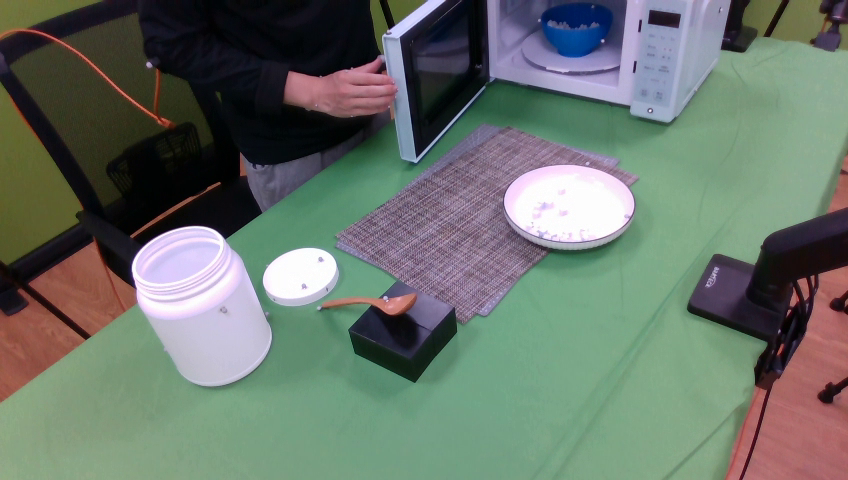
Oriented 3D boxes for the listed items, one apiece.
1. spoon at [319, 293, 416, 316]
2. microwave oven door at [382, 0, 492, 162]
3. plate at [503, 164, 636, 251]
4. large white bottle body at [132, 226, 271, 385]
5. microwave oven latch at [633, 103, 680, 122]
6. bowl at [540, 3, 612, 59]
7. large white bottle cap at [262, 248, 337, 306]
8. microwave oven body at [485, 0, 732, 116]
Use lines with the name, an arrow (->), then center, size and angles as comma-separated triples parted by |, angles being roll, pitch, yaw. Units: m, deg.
spoon -> -0.082, 0.086, 0.826 | 0.192, 0.022, 0.041 | -3, 37, 41
microwave oven door -> 0.040, -0.347, 1.173 | 0.039, 0.245, 0.356 | 15, 45, 25
plate -> 0.231, -0.050, 0.976 | 0.209, 0.038, 0.208 | -3, 41, 3
large white bottle body -> -0.285, 0.085, 0.783 | 0.130, 0.185, 0.130 | -4, 41, 4
microwave oven latch -> 0.443, -0.249, 1.157 | 0.078, 0.029, 0.030 | 21, 49, 30
bowl -> 0.323, -0.441, 1.297 | 0.151, 0.077, 0.150 | -4, 42, 4
large white bottle cap -> -0.193, 0.056, 0.934 | 0.115, 0.018, 0.114 | -4, 41, 4
microwave oven body -> 0.377, -0.462, 1.267 | 0.438, 0.261, 0.327 | 21, 48, 30
